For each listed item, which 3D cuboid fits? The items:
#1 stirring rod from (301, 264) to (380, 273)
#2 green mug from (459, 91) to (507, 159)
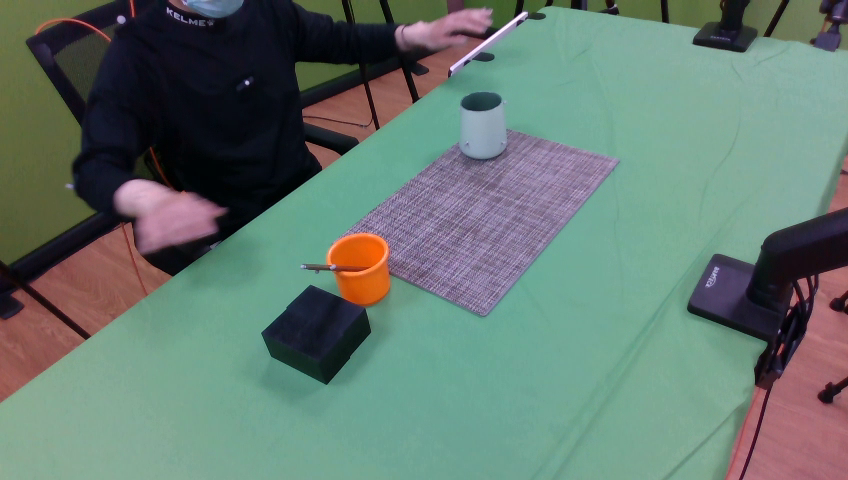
[{"bbox_3d":[-0.113,0.041,0.851,0.014,0.006,0.177,14,2,28],"label":"stirring rod"},{"bbox_3d":[0.116,-0.225,1.144,0.092,0.105,0.125,13,45,23],"label":"green mug"}]
